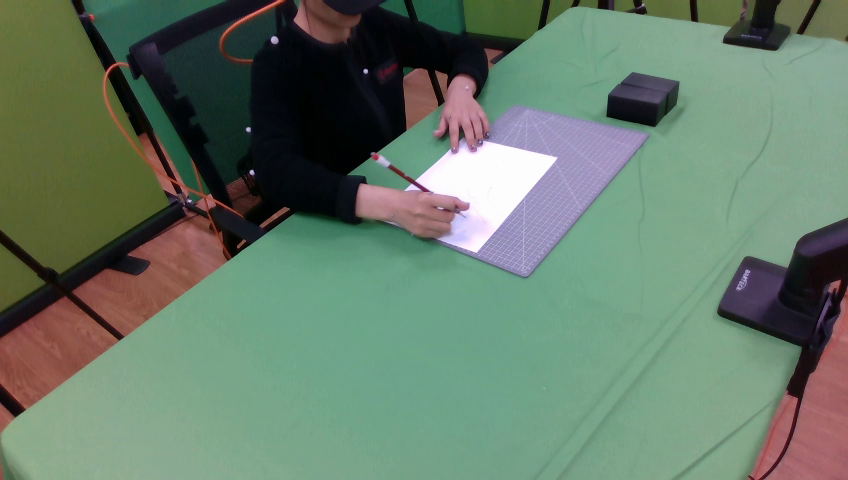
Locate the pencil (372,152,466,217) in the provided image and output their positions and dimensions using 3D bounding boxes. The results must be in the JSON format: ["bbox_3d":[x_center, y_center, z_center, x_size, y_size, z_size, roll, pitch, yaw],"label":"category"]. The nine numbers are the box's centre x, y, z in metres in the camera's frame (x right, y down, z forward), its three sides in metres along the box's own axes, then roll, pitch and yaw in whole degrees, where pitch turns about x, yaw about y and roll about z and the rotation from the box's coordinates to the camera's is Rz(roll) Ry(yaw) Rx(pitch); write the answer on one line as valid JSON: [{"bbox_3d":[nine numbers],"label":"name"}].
[{"bbox_3d":[-0.004,-0.084,0.956,0.012,0.195,0.012,-39,34,32],"label":"pencil"}]
